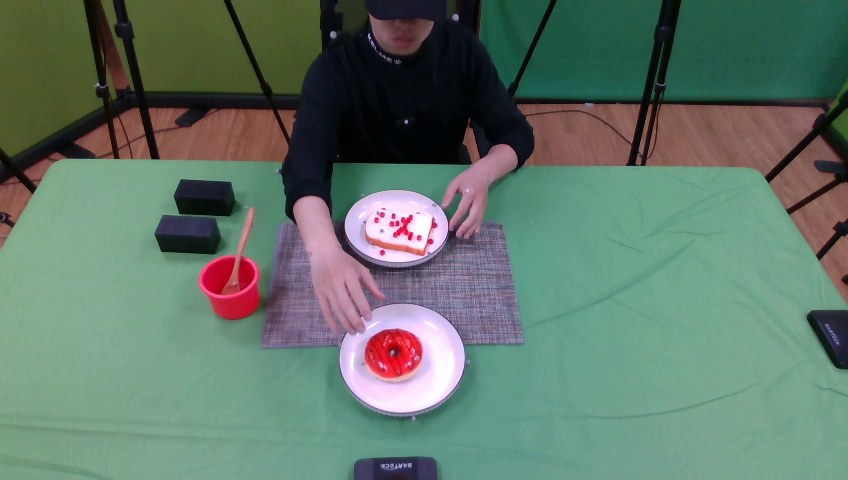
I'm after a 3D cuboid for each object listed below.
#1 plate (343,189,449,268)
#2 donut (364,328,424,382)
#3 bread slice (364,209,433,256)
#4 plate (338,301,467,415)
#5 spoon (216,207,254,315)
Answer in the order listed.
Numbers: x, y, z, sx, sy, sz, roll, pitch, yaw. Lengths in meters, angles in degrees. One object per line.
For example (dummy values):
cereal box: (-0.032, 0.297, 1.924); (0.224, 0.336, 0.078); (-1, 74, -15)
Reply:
plate: (-0.055, -0.019, 1.195); (0.209, 0.038, 0.208); (3, 46, -2)
donut: (-0.049, 0.185, 0.983); (0.099, 0.048, 0.098); (1, 45, -1)
bread slice: (-0.053, -0.019, 1.199); (0.131, 0.019, 0.104); (11, 45, 3)
plate: (-0.035, 0.194, 0.992); (0.208, 0.039, 0.206); (2, 48, -2)
spoon: (-0.322, 0.036, 1.053); (0.041, 0.021, 0.193); (14, 90, 11)
